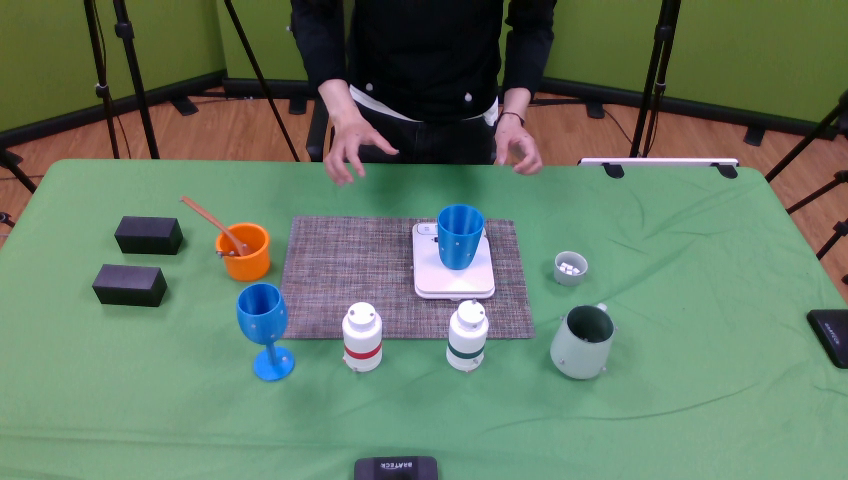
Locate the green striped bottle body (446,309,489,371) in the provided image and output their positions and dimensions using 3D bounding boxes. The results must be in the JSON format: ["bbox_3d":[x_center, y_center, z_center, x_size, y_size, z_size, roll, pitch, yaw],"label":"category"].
[{"bbox_3d":[0.070,0.155,0.984,0.063,0.120,0.063,2,46,-2],"label":"green striped bottle body"}]

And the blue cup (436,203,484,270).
[{"bbox_3d":[0.061,-0.001,1.099,0.093,0.101,0.092,2,44,-2],"label":"blue cup"}]

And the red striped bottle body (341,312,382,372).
[{"bbox_3d":[-0.100,0.154,0.972,0.063,0.120,0.062,2,46,-1],"label":"red striped bottle body"}]

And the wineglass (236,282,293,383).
[{"bbox_3d":[-0.243,0.143,0.934,0.074,0.173,0.073,2,46,-2],"label":"wineglass"}]

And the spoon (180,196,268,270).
[{"bbox_3d":[-0.360,-0.014,1.094,0.021,0.194,0.041,-28,26,31],"label":"spoon"}]

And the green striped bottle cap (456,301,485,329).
[{"bbox_3d":[0.073,0.116,0.943,0.044,0.020,0.044,4,46,-3],"label":"green striped bottle cap"}]

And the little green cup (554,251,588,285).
[{"bbox_3d":[0.276,0.055,1.151,0.061,0.039,0.061,1,46,-1],"label":"little green cup"}]

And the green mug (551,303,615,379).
[{"bbox_3d":[0.271,0.157,1.007,0.092,0.105,0.125,27,50,21],"label":"green mug"}]

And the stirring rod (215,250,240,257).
[{"bbox_3d":[-0.339,0.025,1.059,0.014,0.176,0.006,15,86,-6],"label":"stirring rod"}]

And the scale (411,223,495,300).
[{"bbox_3d":[0.052,0.031,1.158,0.149,0.032,0.199,1,46,-4],"label":"scale"}]

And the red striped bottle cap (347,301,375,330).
[{"bbox_3d":[-0.097,0.116,0.934,0.044,0.018,0.044,2,49,-2],"label":"red striped bottle cap"}]
